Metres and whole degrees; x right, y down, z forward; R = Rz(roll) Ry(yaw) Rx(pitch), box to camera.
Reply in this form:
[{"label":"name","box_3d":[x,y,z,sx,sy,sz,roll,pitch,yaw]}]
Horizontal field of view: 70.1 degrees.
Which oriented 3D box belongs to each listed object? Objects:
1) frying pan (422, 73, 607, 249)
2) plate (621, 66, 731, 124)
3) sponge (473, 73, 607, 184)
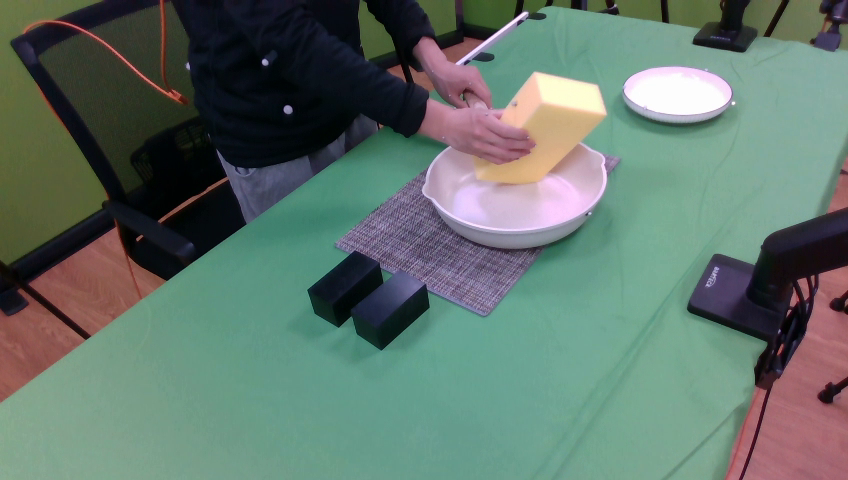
[{"label":"frying pan","box_3d":[0.130,-0.161,1.069,0.307,0.103,0.484,-10,49,-5]},{"label":"plate","box_3d":[0.503,-0.288,1.221,0.207,0.039,0.206,-4,41,4]},{"label":"sponge","box_3d":[0.180,-0.171,0.981,0.119,0.206,0.060,5,61,-24]}]
